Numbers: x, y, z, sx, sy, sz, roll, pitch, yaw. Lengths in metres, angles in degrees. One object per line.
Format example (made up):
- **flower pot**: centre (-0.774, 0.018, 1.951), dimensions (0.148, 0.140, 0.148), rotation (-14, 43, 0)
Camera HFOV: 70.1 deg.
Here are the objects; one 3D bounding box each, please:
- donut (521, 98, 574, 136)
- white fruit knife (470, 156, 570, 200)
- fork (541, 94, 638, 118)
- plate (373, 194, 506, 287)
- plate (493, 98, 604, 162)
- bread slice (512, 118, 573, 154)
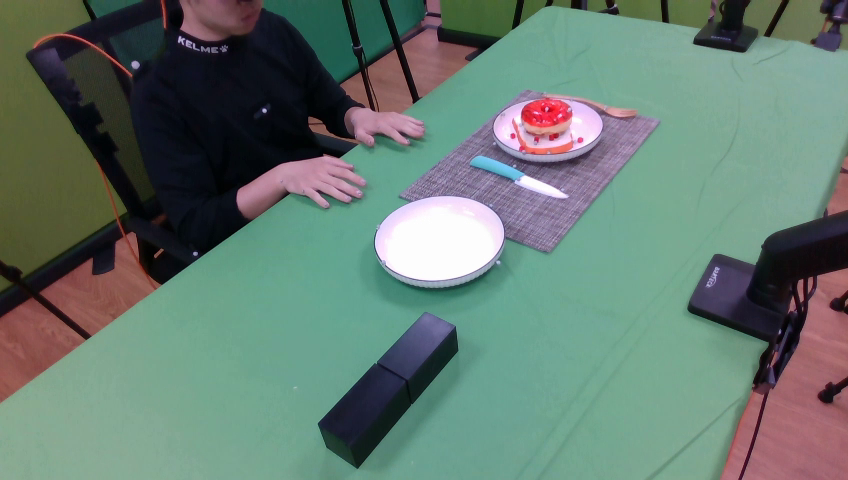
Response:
- **donut**: centre (0.232, -0.232, 1.135), dimensions (0.099, 0.048, 0.098), rotation (-4, 41, 4)
- **white fruit knife**: centre (0.169, -0.111, 1.076), dimensions (0.205, 0.016, 0.027), rotation (28, 80, 32)
- **fork**: centre (0.334, -0.277, 1.240), dimensions (0.206, 0.019, 0.028), rotation (22, 56, 27)
- **plate**: centre (0.025, 0.003, 0.952), dimensions (0.207, 0.039, 0.206), rotation (-4, 41, 4)
- **plate**: centre (0.237, -0.206, 1.158), dimensions (0.209, 0.038, 0.208), rotation (-4, 40, 4)
- **bread slice**: centre (0.232, -0.204, 1.160), dimensions (0.105, 0.019, 0.131), rotation (-8, 39, 1)
